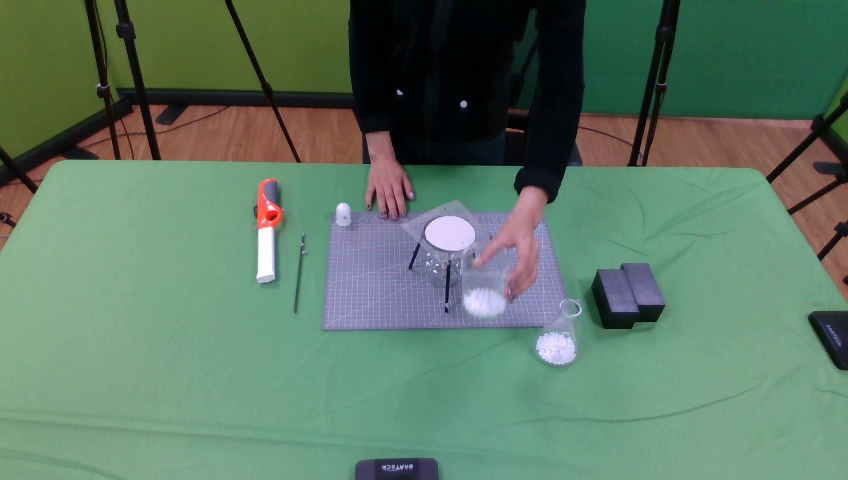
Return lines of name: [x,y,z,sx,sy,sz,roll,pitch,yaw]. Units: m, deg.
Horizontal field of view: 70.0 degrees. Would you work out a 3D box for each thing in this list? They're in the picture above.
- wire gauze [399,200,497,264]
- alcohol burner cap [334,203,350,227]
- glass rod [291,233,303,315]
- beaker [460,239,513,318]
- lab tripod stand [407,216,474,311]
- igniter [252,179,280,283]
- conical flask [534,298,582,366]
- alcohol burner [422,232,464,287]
wire gauze: [0.042,-0.014,1.041,0.125,0.011,0.120,-22,50,-25]
alcohol burner cap: [-0.166,-0.053,1.220,0.034,0.048,0.033,2,46,-2]
glass rod: [-0.236,0.059,1.133,0.008,0.008,0.198,-1,46,-4]
beaker: [0.090,0.062,0.904,0.084,0.101,0.073,-24,43,-25]
lab tripod stand: [0.039,0.030,1.093,0.148,0.132,0.147,3,44,-2]
igniter: [-0.313,-0.027,1.197,0.057,0.025,0.274,-12,47,-1]
conical flask: [0.229,0.149,1.005,0.075,0.122,0.075,2,46,-2]
alcohol burner: [0.035,0.030,1.107,0.078,0.120,0.077,1,47,-1]
